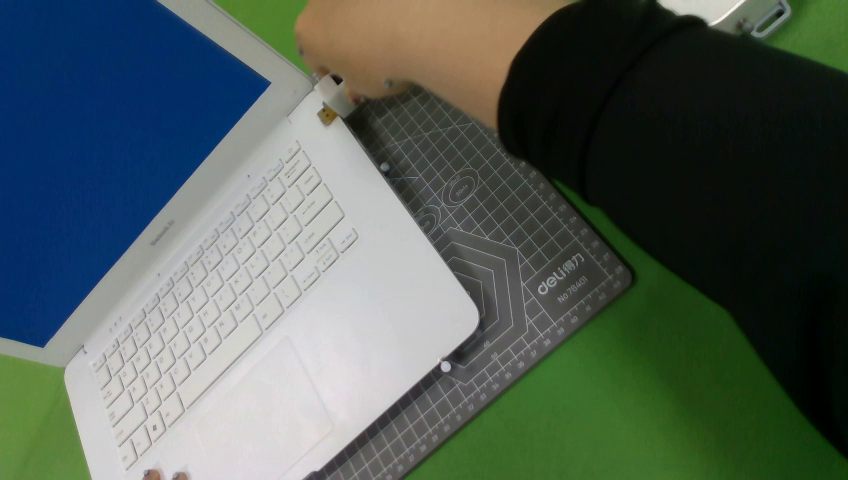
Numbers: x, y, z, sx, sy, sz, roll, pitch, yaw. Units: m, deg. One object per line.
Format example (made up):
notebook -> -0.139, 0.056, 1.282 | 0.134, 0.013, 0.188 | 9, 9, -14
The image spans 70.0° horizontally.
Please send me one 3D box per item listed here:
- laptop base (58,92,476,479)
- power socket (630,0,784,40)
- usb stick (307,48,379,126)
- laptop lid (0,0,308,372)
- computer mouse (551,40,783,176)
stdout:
laptop base -> -0.145, 0.084, 0.454 | 0.354, 0.023, 0.233 | -45, 62, 14
power socket -> 0.119, -0.198, 0.357 | 0.072, 0.033, 0.224 | -42, 60, 17
usb stick -> -0.063, -0.107, 0.434 | 0.059, 0.027, 0.021 | -40, 63, 11
laptop lid -> -0.277, -0.042, 0.427 | 0.357, 0.244, 0.013 | -45, 46, 15
computer mouse -> 0.121, -0.071, 0.321 | 0.116, 0.041, 0.062 | 12, 86, 38
